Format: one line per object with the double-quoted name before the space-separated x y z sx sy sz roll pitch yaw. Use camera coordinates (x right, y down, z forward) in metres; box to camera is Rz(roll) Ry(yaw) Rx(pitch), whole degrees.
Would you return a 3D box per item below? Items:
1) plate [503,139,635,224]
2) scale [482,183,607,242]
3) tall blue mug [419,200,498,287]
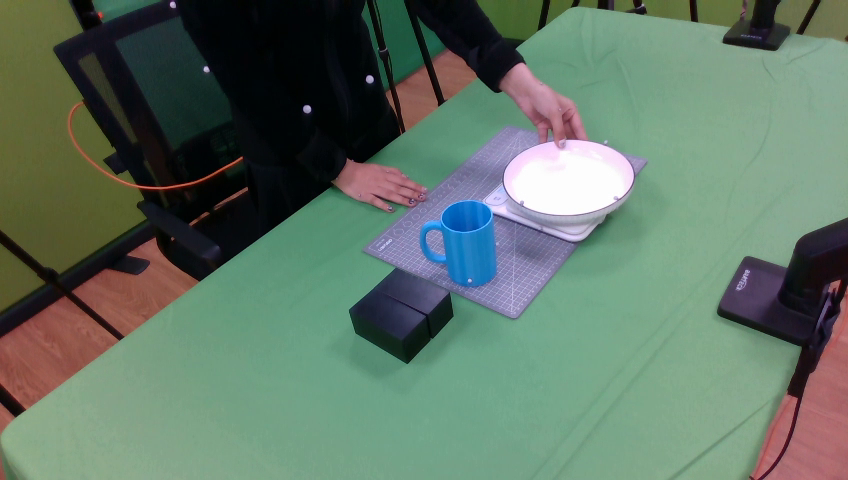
"plate" 0.233 -0.092 0.982 0.209 0.038 0.208 -6 42 6
"scale" 0.211 -0.070 1.014 0.199 0.032 0.149 23 49 33
"tall blue mug" 0.053 0.010 0.889 0.107 0.108 0.077 -16 41 -7
